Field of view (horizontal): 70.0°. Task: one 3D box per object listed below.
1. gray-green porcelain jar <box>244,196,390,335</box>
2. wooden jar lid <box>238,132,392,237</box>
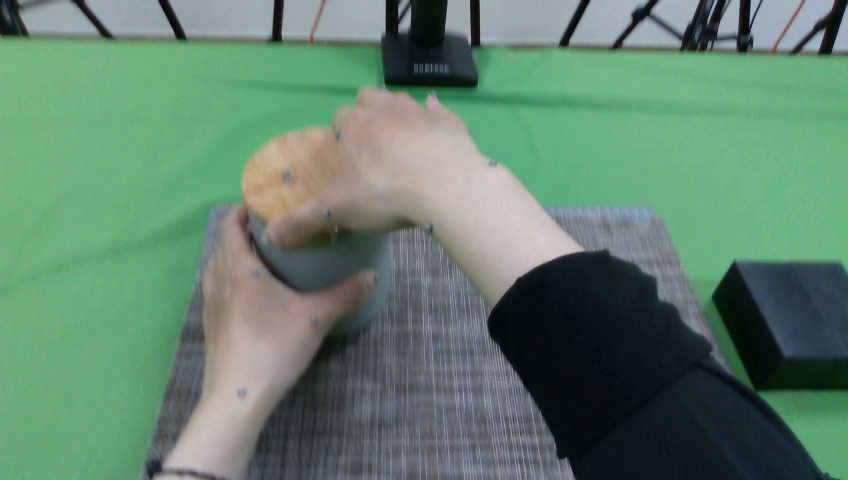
[{"bbox_3d":[-0.081,0.005,0.481,0.106,0.127,0.105,3,45,-3],"label":"gray-green porcelain jar"},{"bbox_3d":[-0.077,-0.038,0.436,0.108,0.021,0.107,3,47,-3],"label":"wooden jar lid"}]
